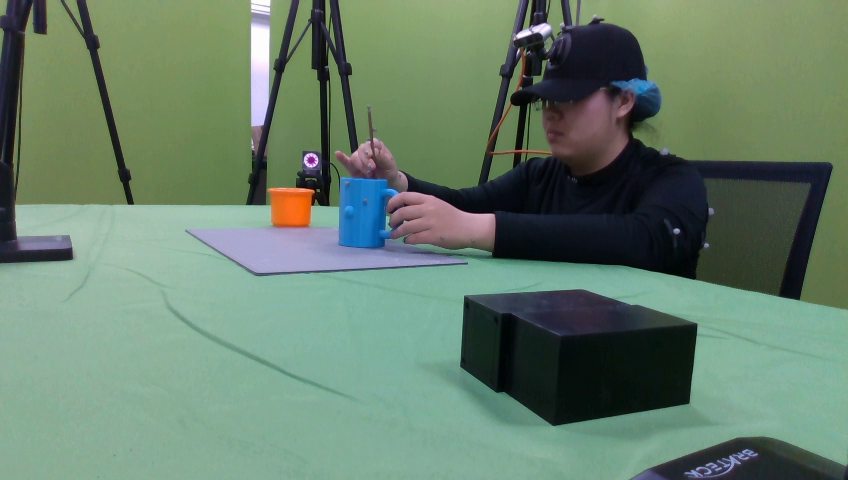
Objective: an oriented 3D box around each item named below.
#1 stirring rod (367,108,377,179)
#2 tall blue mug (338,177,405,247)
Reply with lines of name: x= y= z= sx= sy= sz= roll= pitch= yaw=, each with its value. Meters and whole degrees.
stirring rod: x=-0.081 y=-0.124 z=0.981 sx=0.006 sy=0.176 sz=0.014 roll=-7 pitch=9 yaw=-14
tall blue mug: x=-0.083 y=-0.045 z=0.973 sx=0.107 sy=0.108 sz=0.078 roll=2 pitch=6 yaw=0
